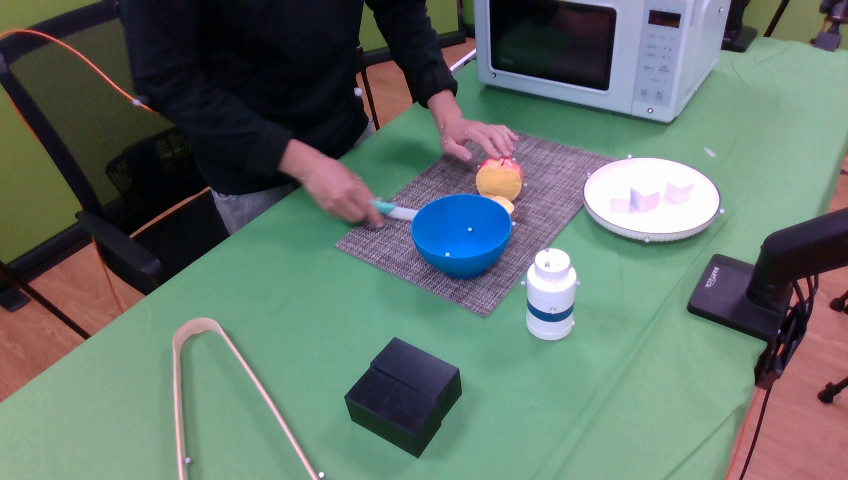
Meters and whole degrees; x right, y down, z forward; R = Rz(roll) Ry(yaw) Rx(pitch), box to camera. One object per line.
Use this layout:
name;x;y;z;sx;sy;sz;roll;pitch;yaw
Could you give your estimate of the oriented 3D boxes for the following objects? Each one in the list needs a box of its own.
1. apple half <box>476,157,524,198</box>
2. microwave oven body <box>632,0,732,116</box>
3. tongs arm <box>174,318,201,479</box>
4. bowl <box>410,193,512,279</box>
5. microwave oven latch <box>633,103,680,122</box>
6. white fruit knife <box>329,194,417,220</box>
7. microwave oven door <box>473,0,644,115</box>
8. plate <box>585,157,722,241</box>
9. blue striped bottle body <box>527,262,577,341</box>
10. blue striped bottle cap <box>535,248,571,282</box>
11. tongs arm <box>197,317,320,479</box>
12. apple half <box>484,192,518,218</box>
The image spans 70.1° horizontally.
apple half;0.131;-0.107;1.029;0.080;0.075;0.053;7;37;13
microwave oven body;0.377;-0.463;1.267;0.438;0.261;0.327;21;49;30
tongs arm;-0.272;0.234;0.723;0.051;0.026;0.381;-19;40;-14
bowl;0.058;0.005;0.905;0.151;0.077;0.150;-4;40;4
microwave oven latch;0.444;-0.249;1.158;0.078;0.029;0.030;21;49;30
white fruit knife;-0.057;-0.050;1.000;0.207;0.027;0.016;11;40;4
microwave oven door;0.257;-0.396;1.199;0.353;0.245;0.039;21;48;29
plate;0.367;-0.063;0.979;0.207;0.039;0.206;-4;40;4
blue striped bottle body;0.165;0.070;0.786;0.063;0.121;0.063;-4;41;4
blue striped bottle cap;0.161;0.031;0.753;0.044;0.021;0.044;-4;42;4
tongs arm;-0.199;0.206;0.750;0.028;0.028;0.384;-31;45;-22
apple half;0.116;-0.046;0.983;0.081;0.033;0.081;-8;34;6
